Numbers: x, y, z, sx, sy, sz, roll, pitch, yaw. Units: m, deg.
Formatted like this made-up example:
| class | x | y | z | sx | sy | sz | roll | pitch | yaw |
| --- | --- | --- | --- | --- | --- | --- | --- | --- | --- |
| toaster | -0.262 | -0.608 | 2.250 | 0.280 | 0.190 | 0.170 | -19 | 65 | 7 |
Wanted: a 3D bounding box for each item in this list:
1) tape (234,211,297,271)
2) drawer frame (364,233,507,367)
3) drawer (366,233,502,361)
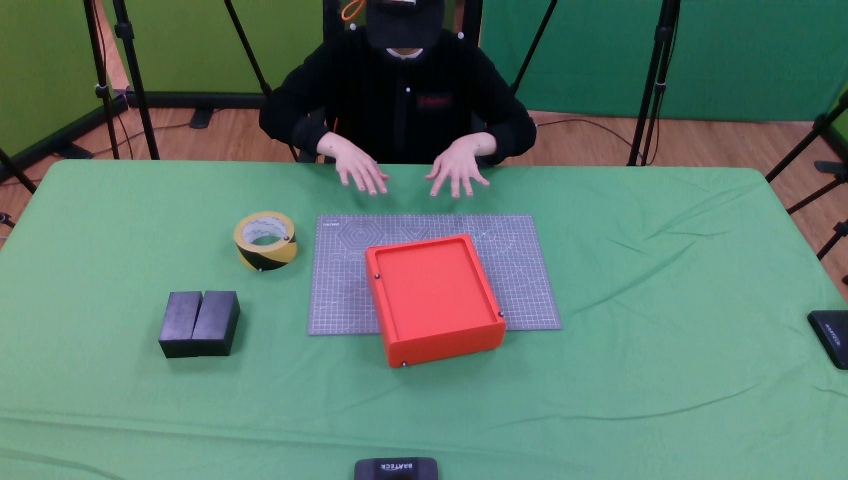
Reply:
| class | x | y | z | sx | sy | sz | roll | pitch | yaw |
| --- | --- | --- | --- | --- | --- | --- | --- | --- | --- |
| tape | -0.301 | 0.002 | 1.154 | 0.117 | 0.053 | 0.116 | 2 | 46 | -1 |
| drawer frame | 0.013 | 0.098 | 1.058 | 0.202 | 0.083 | 0.212 | -9 | 48 | -12 |
| drawer | 0.012 | 0.095 | 1.063 | 0.195 | 0.073 | 0.210 | -8 | 48 | -12 |
